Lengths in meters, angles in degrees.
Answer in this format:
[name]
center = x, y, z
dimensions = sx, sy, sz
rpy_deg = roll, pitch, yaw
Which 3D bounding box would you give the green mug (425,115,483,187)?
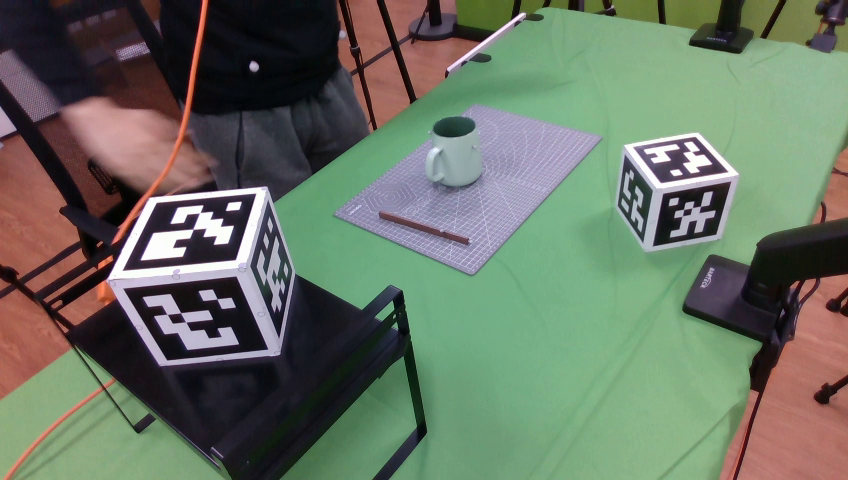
[green mug]
center = 0.047, -0.148, 1.068
dimensions = 0.092, 0.105, 0.125
rpy_deg = 24, 50, 31

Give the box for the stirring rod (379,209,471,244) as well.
[stirring rod]
center = -0.001, -0.023, 0.997
dimensions = 0.175, 0.014, 0.006
rpy_deg = 19, 53, 26
